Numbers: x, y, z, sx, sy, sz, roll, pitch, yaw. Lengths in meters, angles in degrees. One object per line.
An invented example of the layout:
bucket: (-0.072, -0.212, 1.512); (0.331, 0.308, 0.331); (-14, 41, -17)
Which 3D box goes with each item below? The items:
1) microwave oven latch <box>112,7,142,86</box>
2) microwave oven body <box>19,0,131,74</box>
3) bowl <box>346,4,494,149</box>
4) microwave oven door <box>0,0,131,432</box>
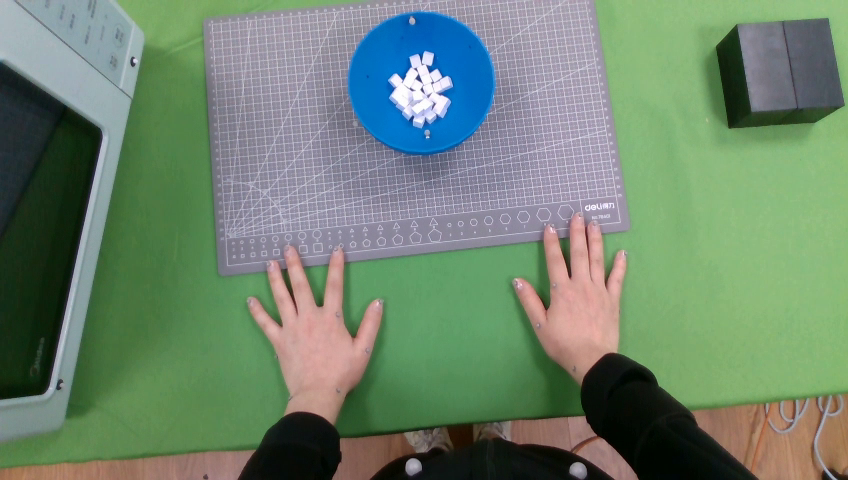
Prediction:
microwave oven latch: (-0.328, -0.210, 0.655); (0.030, 0.029, 0.079); (9, 82, 1)
microwave oven body: (-0.499, -0.071, 0.537); (0.326, 0.261, 0.440); (7, 82, 0)
bowl: (-0.004, -0.161, 0.645); (0.151, 0.077, 0.151); (0, 82, 0)
microwave oven door: (-0.360, -0.011, 0.524); (0.039, 0.244, 0.354); (7, 82, 2)
